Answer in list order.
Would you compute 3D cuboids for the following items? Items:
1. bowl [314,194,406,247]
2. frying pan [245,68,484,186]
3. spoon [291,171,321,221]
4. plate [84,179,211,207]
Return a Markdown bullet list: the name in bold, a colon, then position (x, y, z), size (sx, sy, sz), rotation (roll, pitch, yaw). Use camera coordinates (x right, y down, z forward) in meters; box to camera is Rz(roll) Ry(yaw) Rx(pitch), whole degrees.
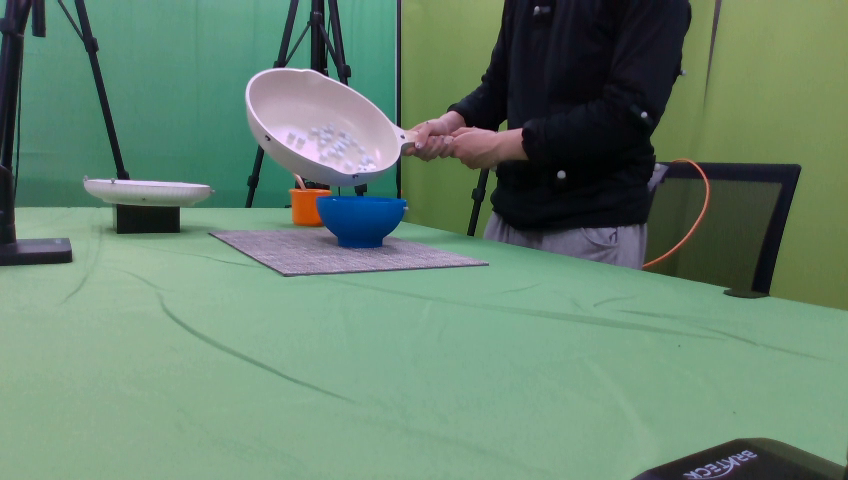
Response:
- **bowl**: position (-0.105, -0.032, 0.991), size (0.151, 0.077, 0.151), rotation (2, 7, 0)
- **frying pan**: position (-0.094, -0.203, 1.159), size (0.490, 0.102, 0.305), rotation (1, 48, -25)
- **spoon**: position (-0.269, -0.113, 1.336), size (0.042, 0.193, 0.021), rotation (-3, -35, -43)
- **plate**: position (-0.495, -0.085, 1.093), size (0.208, 0.039, 0.207), rotation (4, 7, 0)
